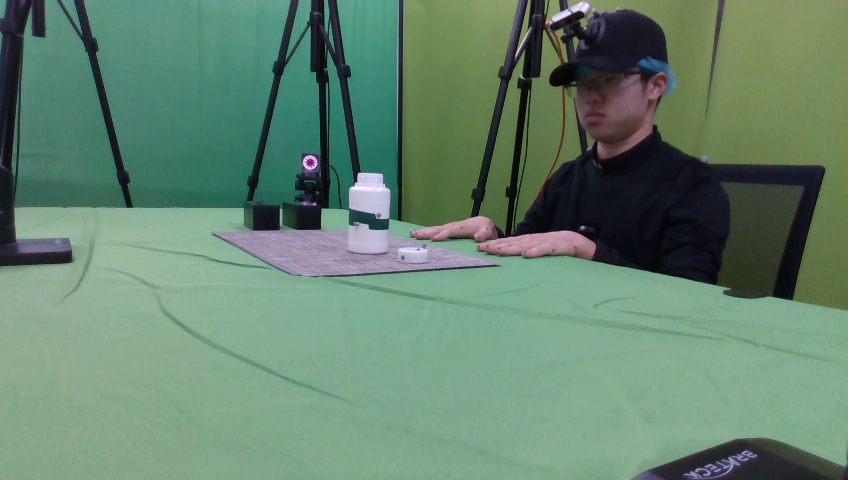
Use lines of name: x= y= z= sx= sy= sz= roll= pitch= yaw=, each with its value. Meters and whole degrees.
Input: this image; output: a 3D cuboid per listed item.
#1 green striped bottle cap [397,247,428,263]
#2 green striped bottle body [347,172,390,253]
green striped bottle cap: x=-0.016 y=0.021 z=0.851 sx=0.044 sy=0.020 sz=0.044 roll=1 pitch=5 yaw=0
green striped bottle body: x=-0.083 y=-0.042 z=0.913 sx=0.063 sy=0.119 sz=0.063 roll=2 pitch=7 yaw=0
